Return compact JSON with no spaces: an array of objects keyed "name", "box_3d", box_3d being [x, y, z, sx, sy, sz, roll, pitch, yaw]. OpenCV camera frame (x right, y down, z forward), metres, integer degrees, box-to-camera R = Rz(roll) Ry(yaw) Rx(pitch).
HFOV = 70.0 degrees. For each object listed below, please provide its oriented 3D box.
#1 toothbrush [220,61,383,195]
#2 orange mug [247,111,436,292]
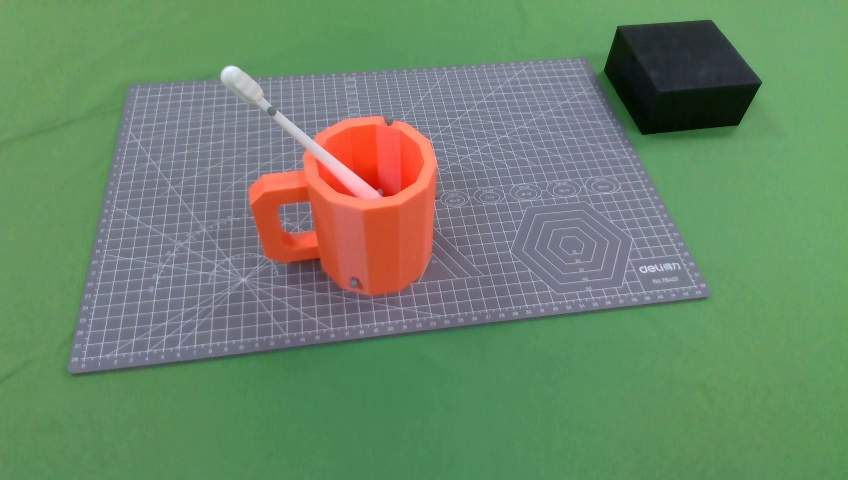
[{"name":"toothbrush","box_3d":[-0.057,-0.050,0.393,0.016,0.184,0.014,15,70,47]},{"name":"orange mug","box_3d":[-0.055,-0.024,0.421,0.126,0.101,0.082,-7,53,-14]}]
